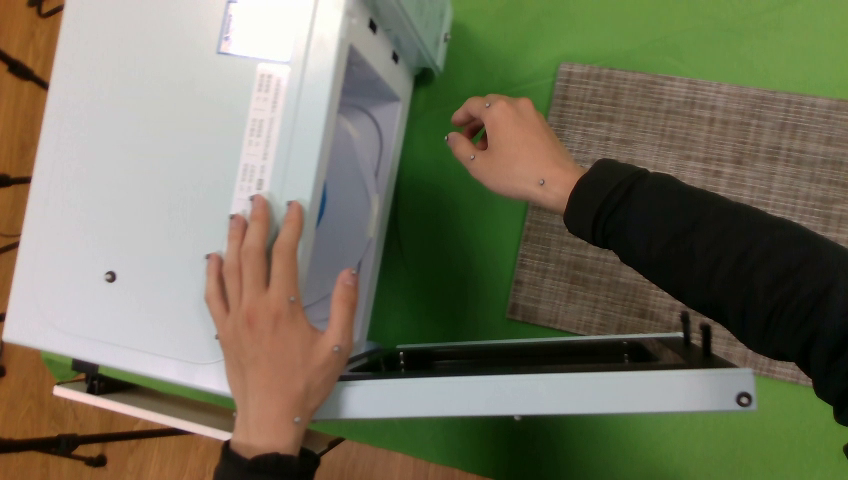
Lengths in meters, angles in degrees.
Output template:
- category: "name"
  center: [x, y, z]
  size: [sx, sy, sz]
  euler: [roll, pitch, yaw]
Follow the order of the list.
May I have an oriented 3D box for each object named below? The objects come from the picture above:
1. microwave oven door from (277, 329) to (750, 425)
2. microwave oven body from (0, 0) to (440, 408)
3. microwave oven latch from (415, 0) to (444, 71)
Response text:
- category: "microwave oven door"
  center: [0.078, 0.123, 0.564]
  size: [0.355, 0.244, 0.039]
  euler: [-6, 85, 12]
- category: "microwave oven body"
  center: [-0.190, -0.094, 0.635]
  size: [0.325, 0.261, 0.441]
  euler: [10, 90, 12]
- category: "microwave oven latch"
  center: [0.004, -0.238, 0.699]
  size: [0.030, 0.029, 0.079]
  euler: [10, 90, 12]
